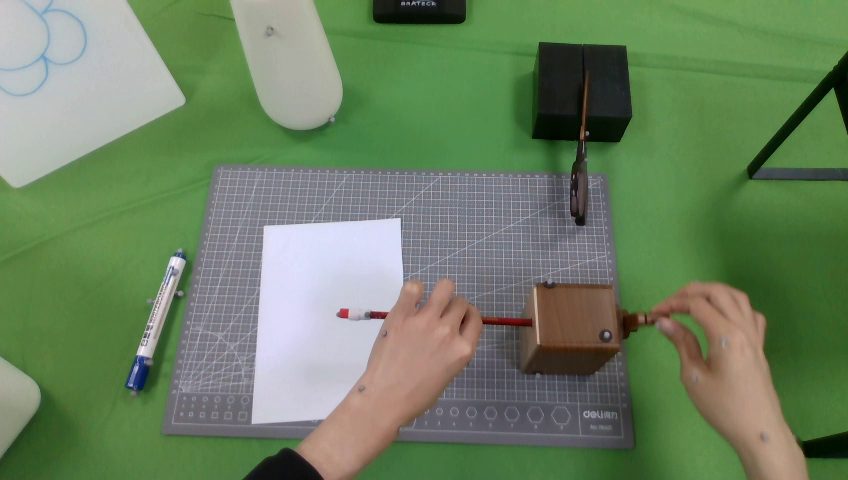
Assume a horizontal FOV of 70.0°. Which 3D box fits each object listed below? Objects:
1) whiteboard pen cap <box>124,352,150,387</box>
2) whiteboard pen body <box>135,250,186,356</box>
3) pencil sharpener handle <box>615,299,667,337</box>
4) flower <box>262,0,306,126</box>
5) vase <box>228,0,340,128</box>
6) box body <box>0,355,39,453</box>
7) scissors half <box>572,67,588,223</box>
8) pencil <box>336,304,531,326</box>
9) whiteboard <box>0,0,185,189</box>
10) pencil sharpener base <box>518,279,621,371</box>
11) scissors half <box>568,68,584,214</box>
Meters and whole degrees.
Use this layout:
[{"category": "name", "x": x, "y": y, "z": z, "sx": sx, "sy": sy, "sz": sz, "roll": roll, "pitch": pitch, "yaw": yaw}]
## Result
[{"category": "whiteboard pen cap", "x": -0.280, "y": 0.127, "z": 0.595, "sx": 0.018, "sy": 0.018, "sz": 0.033, "roll": 7, "pitch": 62, "yaw": 4}, {"category": "whiteboard pen body", "x": -0.272, "y": 0.074, "z": 0.620, "sx": 0.017, "sy": 0.017, "sz": 0.140, "roll": 8, "pitch": 65, "yaw": 4}, {"category": "pencil sharpener handle", "x": 0.183, "y": 0.067, "z": 0.522, "sx": 0.030, "sy": 0.068, "sz": 0.036, "roll": 0, "pitch": 76, "yaw": 1}, {"category": "flower", "x": -0.157, "y": -0.255, "z": 0.574, "sx": 0.044, "sy": 0.365, "sz": 0.038, "roll": -5, "pitch": 49, "yaw": 2}, {"category": "vase", "x": -0.149, "y": -0.209, "z": 0.644, "sx": 0.098, "sy": 0.201, "sz": 0.097, "roll": -1, "pitch": 65, "yaw": 2}, {"category": "box body", "x": -0.571, "y": 0.136, "z": 0.518, "sx": 0.363, "sy": 0.161, "sz": 0.253, "roll": 27, "pitch": 69, "yaw": 11}, {"category": "scissors half", "x": 0.174, "y": -0.105, "z": 0.663, "sx": 0.012, "sy": 0.040, "sz": 0.175, "roll": 1, "pitch": 85, "yaw": 26}, {"category": "pencil", "x": 0.018, "y": 0.068, "z": 0.540, "sx": 0.194, "sy": 0.012, "sz": 0.012, "roll": 3, "pitch": 66, "yaw": 2}, {"category": "whiteboard", "x": -0.442, "y": -0.250, "z": 0.640, "sx": 0.217, "sy": 0.309, "sz": 0.142, "roll": -31, "pitch": 50, "yaw": -12}, {"category": "pencil sharpener base", "x": 0.132, "y": 0.082, "z": 0.563, "sx": 0.077, "sy": 0.108, "sz": 0.061, "roll": 0, "pitch": 66, "yaw": 1}, {"category": "scissors half", "x": 0.165, "y": -0.110, "z": 0.644, "sx": 0.013, "sy": 0.040, "sz": 0.174, "roll": 2, "pitch": 68, "yaw": 21}]
